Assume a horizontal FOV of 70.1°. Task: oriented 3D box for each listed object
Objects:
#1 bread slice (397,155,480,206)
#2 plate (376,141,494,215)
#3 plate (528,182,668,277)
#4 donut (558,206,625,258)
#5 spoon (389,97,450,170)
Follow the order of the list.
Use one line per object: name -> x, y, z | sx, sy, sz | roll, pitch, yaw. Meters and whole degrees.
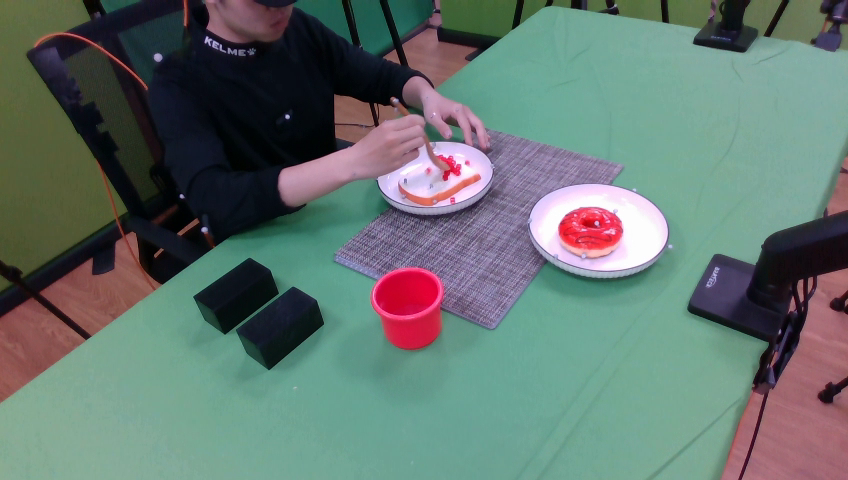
bread slice -> 0.020, -0.106, 1.078 | 0.132, 0.019, 0.104 | -31, 46, -29
plate -> 0.021, -0.106, 1.073 | 0.209, 0.038, 0.208 | -4, 40, 4
plate -> 0.264, -0.014, 0.933 | 0.207, 0.039, 0.206 | -3, 42, 3
donut -> 0.254, -0.015, 0.917 | 0.099, 0.048, 0.098 | -5, 41, 5
spoon -> -0.006, -0.174, 1.000 | 0.021, 0.195, 0.041 | -38, 49, 2
